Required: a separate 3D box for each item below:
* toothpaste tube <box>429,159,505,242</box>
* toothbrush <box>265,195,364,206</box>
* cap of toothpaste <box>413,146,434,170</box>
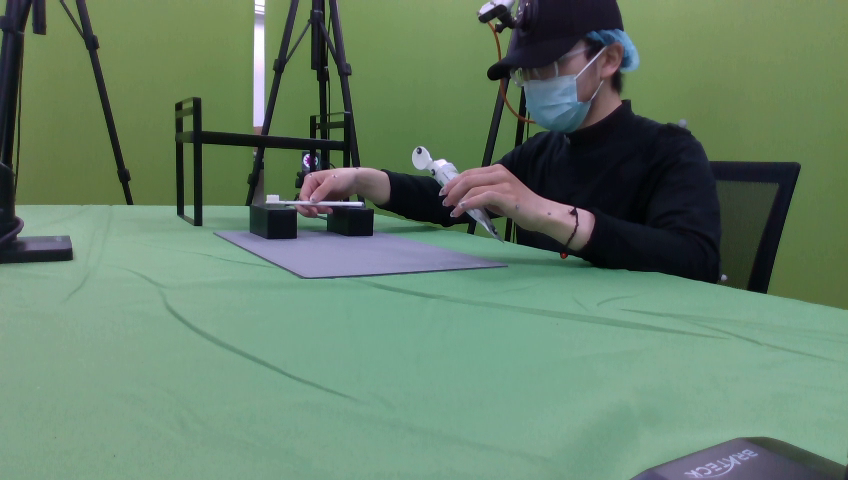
[{"bbox_3d":[0.060,-0.062,0.875,0.164,0.034,0.055,53,17,28],"label":"toothpaste tube"},{"bbox_3d":[-0.194,-0.069,1.089,0.183,0.016,0.014,0,-3,-27],"label":"toothbrush"},{"bbox_3d":[-0.001,-0.123,0.905,0.037,0.037,0.011,9,16,40],"label":"cap of toothpaste"}]
